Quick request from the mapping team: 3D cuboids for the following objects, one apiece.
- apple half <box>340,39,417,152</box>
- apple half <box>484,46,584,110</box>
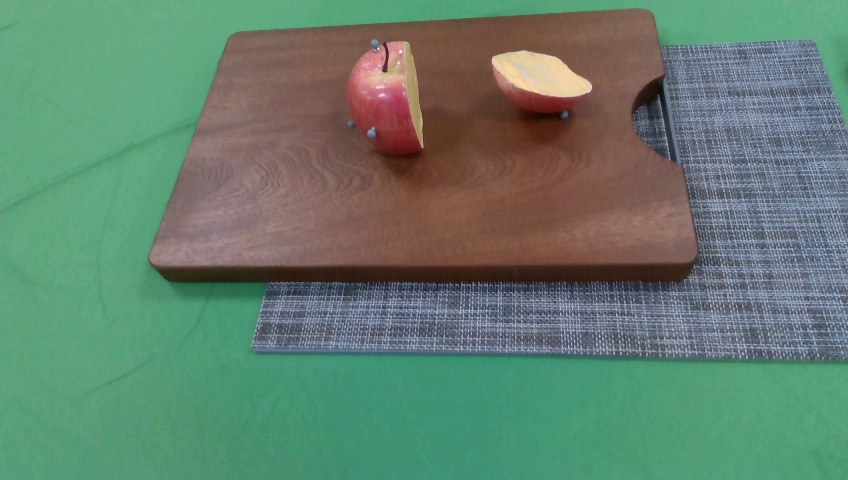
[{"bbox_3d":[-0.036,-0.108,0.469,0.053,0.075,0.080,-9,61,8],"label":"apple half"},{"bbox_3d":[0.081,-0.122,0.480,0.081,0.033,0.080,9,41,-7],"label":"apple half"}]
